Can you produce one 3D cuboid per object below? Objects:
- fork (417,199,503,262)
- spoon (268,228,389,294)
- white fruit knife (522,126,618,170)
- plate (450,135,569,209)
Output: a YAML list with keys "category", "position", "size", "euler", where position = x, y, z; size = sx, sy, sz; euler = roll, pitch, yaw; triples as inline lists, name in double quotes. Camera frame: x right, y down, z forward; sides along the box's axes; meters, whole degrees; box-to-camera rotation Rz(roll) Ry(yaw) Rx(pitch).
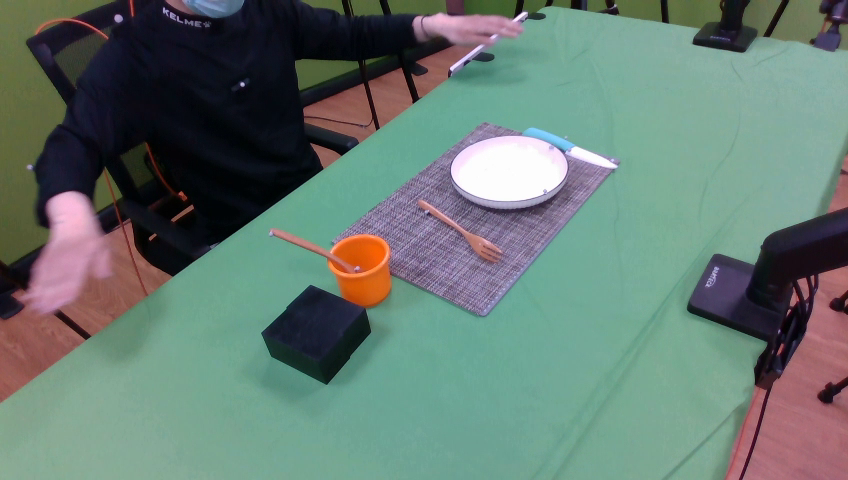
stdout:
- category: "fork"
  position: [0.053, -0.021, 0.981]
  size: [0.019, 0.028, 0.205]
  euler: [1, 26, -41]
- category: "spoon"
  position: [-0.132, 0.027, 0.859]
  size: [0.021, 0.195, 0.041]
  euler: [-39, 32, 34]
- category: "white fruit knife"
  position: [0.272, -0.172, 1.132]
  size: [0.205, 0.016, 0.027]
  euler: [32, 82, 34]
- category: "plate"
  position: [0.149, -0.117, 1.066]
  size: [0.209, 0.038, 0.208]
  euler: [-4, 41, 4]
